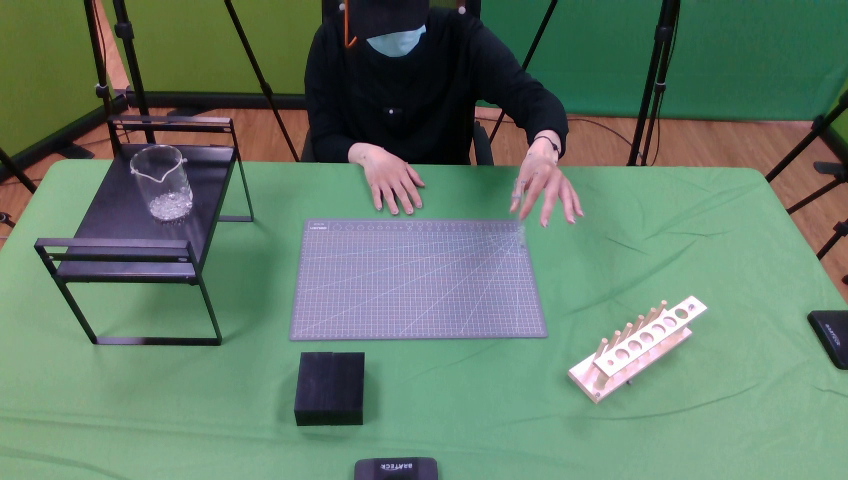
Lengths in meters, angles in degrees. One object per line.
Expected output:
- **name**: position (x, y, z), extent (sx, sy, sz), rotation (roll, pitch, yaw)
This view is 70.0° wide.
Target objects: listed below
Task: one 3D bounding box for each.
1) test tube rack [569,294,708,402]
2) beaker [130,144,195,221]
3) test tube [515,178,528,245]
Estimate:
- **test tube rack**: position (0.360, 0.167, 1.015), extent (0.242, 0.085, 0.066), rotation (-25, 52, -25)
- **beaker**: position (-0.403, -0.085, 0.944), extent (0.074, 0.101, 0.083), rotation (-15, 50, -17)
- **test tube**: position (0.165, -0.044, 1.020), extent (0.017, 0.151, 0.017), rotation (-6, 47, 7)
